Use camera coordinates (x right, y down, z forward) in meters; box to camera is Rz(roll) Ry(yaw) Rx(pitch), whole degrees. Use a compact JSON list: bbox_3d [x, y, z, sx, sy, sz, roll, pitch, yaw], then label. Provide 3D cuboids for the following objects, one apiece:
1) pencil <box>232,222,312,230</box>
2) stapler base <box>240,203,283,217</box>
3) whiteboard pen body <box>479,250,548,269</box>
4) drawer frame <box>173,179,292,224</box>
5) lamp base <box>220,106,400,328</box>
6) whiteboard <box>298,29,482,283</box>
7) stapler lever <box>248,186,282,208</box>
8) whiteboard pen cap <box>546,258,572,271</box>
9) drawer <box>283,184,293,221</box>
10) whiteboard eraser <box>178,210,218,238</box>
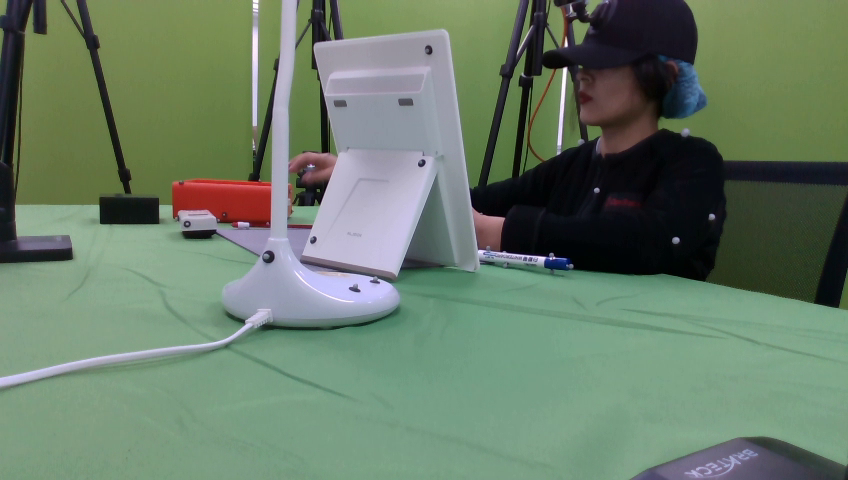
[{"bbox_3d":[-0.261,-0.025,1.141,0.195,0.012,0.012,2,7,-26],"label":"pencil"},{"bbox_3d":[-0.349,-0.067,1.309,0.041,0.024,0.131,20,5,12],"label":"stapler base"},{"bbox_3d":[0.129,0.027,0.827,0.140,0.017,0.017,6,8,39],"label":"whiteboard pen body"},{"bbox_3d":[-0.400,-0.086,1.300,0.214,0.082,0.201,1,8,-8],"label":"drawer frame"},{"bbox_3d":[-0.101,-0.023,0.531,0.160,0.180,0.179,4,10,10],"label":"lamp base"},{"bbox_3d":[-0.075,-0.082,0.742,0.216,0.305,0.144,9,29,37],"label":"whiteboard"},{"bbox_3d":[-0.341,-0.092,1.308,0.027,0.040,0.118,20,4,12],"label":"stapler lever"},{"bbox_3d":[0.175,0.032,0.790,0.033,0.018,0.018,3,6,37],"label":"whiteboard pen cap"},{"bbox_3d":[-0.396,-0.084,1.301,0.212,0.073,0.194,1,8,-7],"label":"drawer"},{"bbox_3d":[-0.380,-0.027,1.014,0.056,0.042,0.112,0,8,-25],"label":"whiteboard eraser"}]
